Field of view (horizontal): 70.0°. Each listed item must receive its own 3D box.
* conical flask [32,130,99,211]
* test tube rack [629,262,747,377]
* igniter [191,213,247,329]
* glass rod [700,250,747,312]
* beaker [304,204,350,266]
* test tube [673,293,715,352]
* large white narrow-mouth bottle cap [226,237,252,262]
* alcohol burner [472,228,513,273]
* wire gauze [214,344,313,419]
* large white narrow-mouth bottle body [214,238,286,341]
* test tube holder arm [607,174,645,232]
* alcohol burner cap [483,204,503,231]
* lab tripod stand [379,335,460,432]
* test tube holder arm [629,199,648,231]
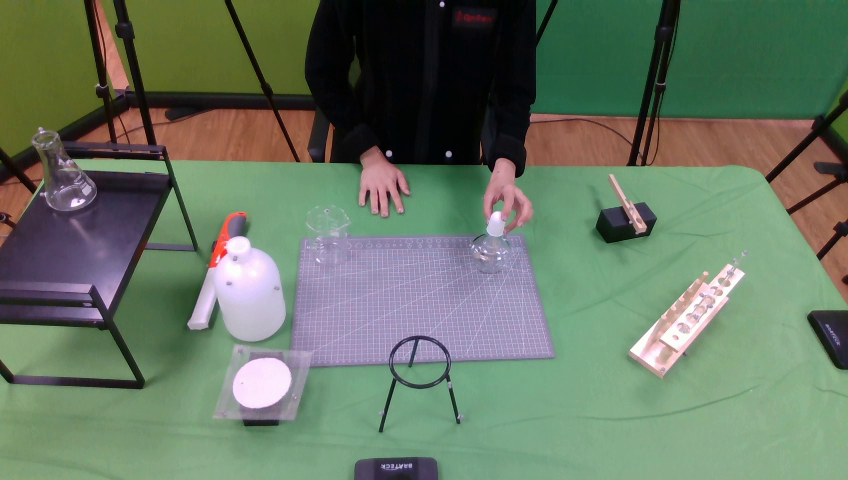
[{"bbox_3d":[-0.565,-0.110,0.944,0.075,0.122,0.075,2,46,-2],"label":"conical flask"},{"bbox_3d":[0.464,0.126,1.060,0.242,0.085,0.066,-34,56,-31],"label":"test tube rack"},{"bbox_3d":[-0.376,0.047,1.121,0.057,0.025,0.275,-4,46,6],"label":"igniter"},{"bbox_3d":[0.500,0.075,1.021,0.008,0.201,0.008,0,54,1],"label":"glass rod"},{"bbox_3d":[-0.178,-0.006,1.132,0.084,0.101,0.073,4,46,-1],"label":"beaker"},{"bbox_3d":[0.429,0.137,0.979,0.017,0.151,0.017,5,46,-5],"label":"test tube"},{"bbox_3d":[-0.282,0.015,0.923,0.038,0.024,0.037,2,46,-2],"label":"large white narrow-mouth bottle cap"},{"bbox_3d":[0.128,0.005,1.132,0.078,0.120,0.077,0,47,0],"label":"alcohol burner"},{"bbox_3d":[-0.241,0.213,0.916,0.121,0.011,0.124,5,46,1],"label":"wire gauze"},{"bbox_3d":[-0.285,0.073,0.986,0.102,0.195,0.101,2,46,-2],"label":"large white narrow-mouth bottle body"},{"bbox_3d":[0.411,-0.080,1.238,0.013,0.015,0.177,1,42,-13],"label":"test tube holder arm"},{"bbox_3d":[0.126,-0.043,1.082,0.034,0.048,0.033,4,43,-4],"label":"alcohol burner cap"},{"bbox_3d":[-0.010,0.214,0.912,0.148,0.132,0.147,1,45,0],"label":"lab tripod stand"},{"bbox_3d":[0.423,-0.050,1.206,0.010,0.015,0.087,1,41,-12],"label":"test tube holder arm"}]
